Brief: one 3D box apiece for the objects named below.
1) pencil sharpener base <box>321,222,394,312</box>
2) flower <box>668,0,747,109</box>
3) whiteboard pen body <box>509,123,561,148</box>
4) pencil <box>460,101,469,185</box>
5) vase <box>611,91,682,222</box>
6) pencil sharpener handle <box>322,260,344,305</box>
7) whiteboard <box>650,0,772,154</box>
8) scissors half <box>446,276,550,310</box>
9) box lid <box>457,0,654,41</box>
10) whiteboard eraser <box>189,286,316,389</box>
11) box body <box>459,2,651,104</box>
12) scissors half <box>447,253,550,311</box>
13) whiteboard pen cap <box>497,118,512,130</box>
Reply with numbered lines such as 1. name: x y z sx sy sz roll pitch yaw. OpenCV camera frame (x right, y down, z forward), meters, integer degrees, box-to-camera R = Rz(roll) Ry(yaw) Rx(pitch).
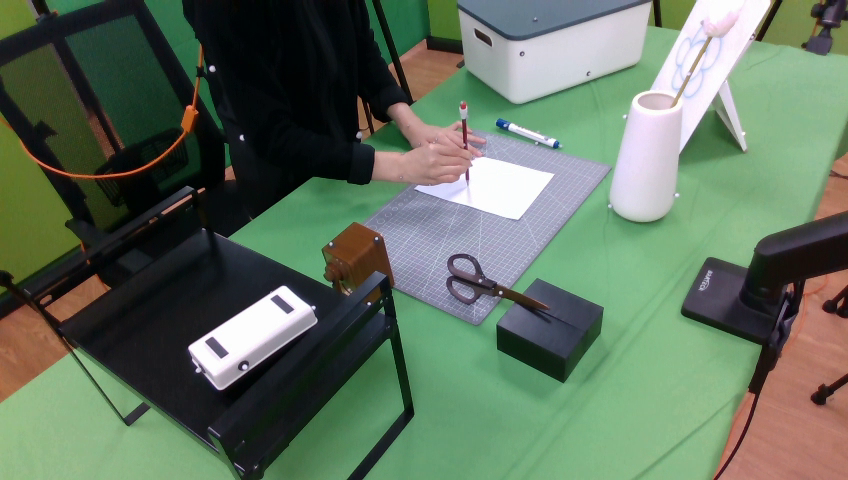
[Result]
1. pencil sharpener base: -0.096 0.041 0.873 0.061 0.107 0.077 25 54 32
2. flower: 0.354 -0.187 0.879 0.038 0.362 0.044 30 48 14
3. whiteboard pen body: 0.208 -0.211 1.195 0.139 0.017 0.017 30 52 33
4. pencil: 0.070 -0.156 1.011 0.012 0.195 0.012 -3 54 5
5. vase: 0.348 -0.125 0.935 0.098 0.201 0.097 -3 40 3
6. pencil sharpener handle: -0.131 0.062 0.839 0.035 0.068 0.031 29 56 27
7. whiteboard: 0.543 -0.298 1.076 0.144 0.305 0.216 12 40 -7
8. scissors half: 0.098 0.077 0.827 0.174 0.040 0.013 6 14 44
9. box lid: 0.285 -0.522 1.323 0.373 0.015 0.261 -22 43 -16
10. whiteboard eraser: -0.166 0.096 0.593 0.113 0.042 0.055 -36 47 -29
11. box body: 0.291 -0.465 1.371 0.365 0.161 0.252 -22 42 -16
12. scissors half: 0.098 0.058 0.821 0.173 0.040 0.013 27 33 36
13. whiteboard pen cap: 0.165 -0.235 1.227 0.033 0.018 0.018 31 53 31
